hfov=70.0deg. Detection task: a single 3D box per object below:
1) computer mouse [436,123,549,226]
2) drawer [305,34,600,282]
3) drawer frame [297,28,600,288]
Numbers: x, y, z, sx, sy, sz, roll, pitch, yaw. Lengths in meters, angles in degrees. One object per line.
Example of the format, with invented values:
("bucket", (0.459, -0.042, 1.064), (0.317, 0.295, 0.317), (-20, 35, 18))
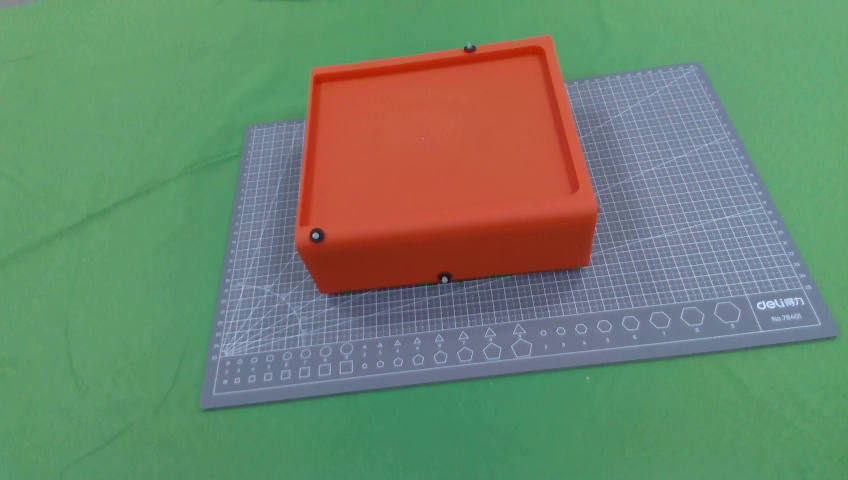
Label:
("computer mouse", (0.057, -0.061, 0.499), (0.062, 0.041, 0.116), (12, 49, 27))
("drawer", (0.020, -0.070, 0.497), (0.211, 0.074, 0.192), (-6, 54, 5))
("drawer frame", (0.017, -0.070, 0.495), (0.213, 0.083, 0.199), (-7, 54, 5))
